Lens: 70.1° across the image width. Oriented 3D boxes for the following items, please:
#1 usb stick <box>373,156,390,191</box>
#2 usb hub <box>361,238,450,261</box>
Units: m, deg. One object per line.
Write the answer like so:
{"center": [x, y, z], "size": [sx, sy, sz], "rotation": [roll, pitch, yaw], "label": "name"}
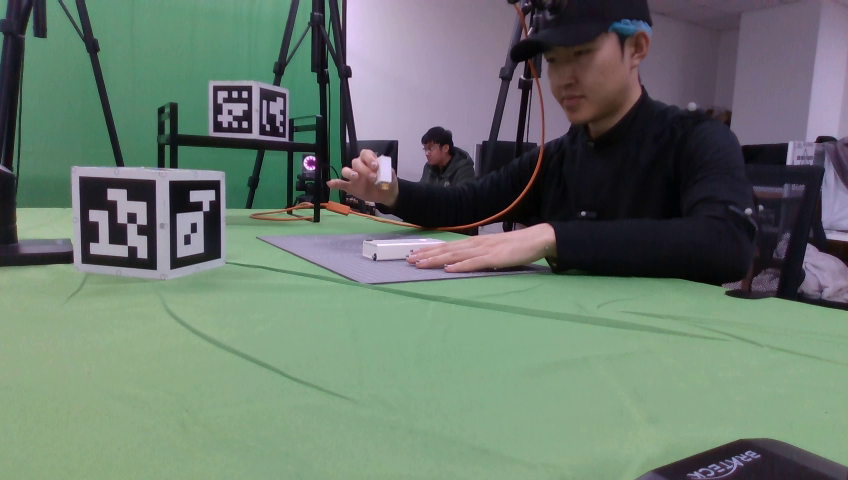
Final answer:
{"center": [-0.071, -0.109, 1.018], "size": [0.021, 0.059, 0.027], "rotation": [8, -16, -31], "label": "usb stick"}
{"center": [-0.026, 0.013, 0.894], "size": [0.126, 0.025, 0.049], "rotation": [-1, 8, -31], "label": "usb hub"}
